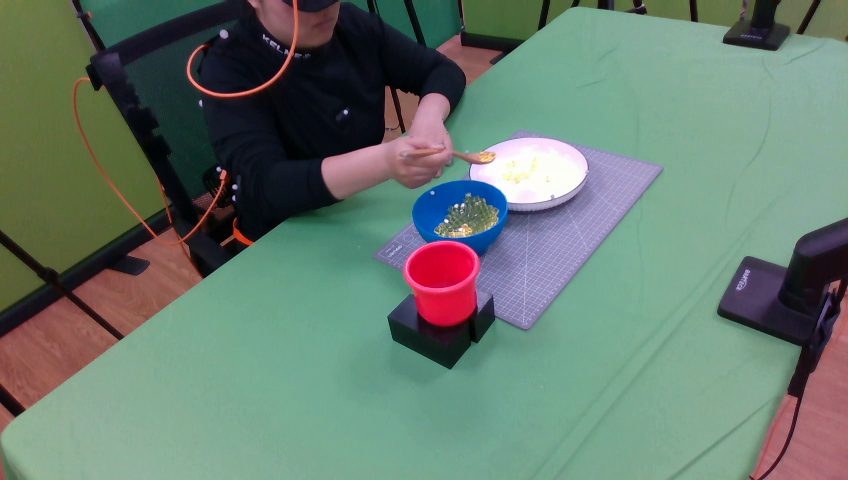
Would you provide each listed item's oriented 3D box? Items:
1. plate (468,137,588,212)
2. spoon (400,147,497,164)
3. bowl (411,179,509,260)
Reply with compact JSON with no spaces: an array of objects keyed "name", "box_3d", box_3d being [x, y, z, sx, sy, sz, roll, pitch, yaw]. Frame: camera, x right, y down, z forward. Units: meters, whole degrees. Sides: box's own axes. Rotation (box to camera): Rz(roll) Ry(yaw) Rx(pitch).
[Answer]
[{"name":"plate","box_3d":[0.182,-0.112,1.064,0.207,0.039,0.206,-5,40,5]},{"name":"spoon","box_3d":[0.040,-0.132,0.925,0.195,0.021,0.041,-1,27,-41]},{"name":"bowl","box_3d":[0.060,-0.022,0.949,0.151,0.077,0.150,-5,40,5]}]
